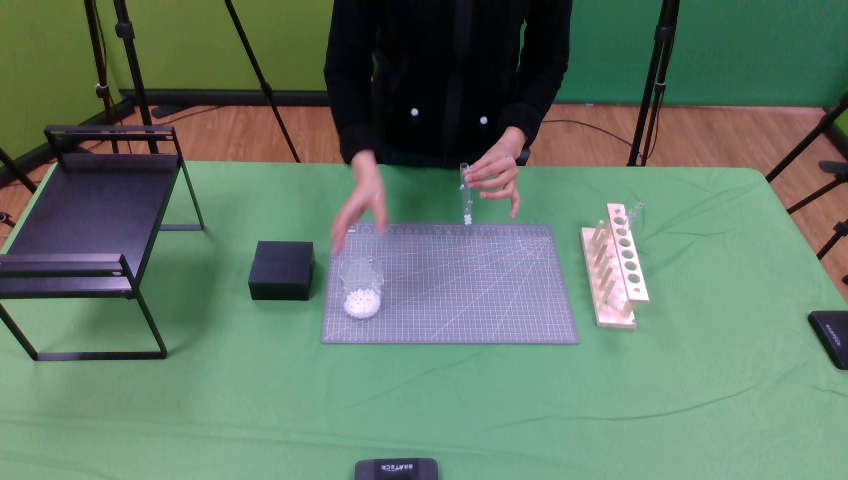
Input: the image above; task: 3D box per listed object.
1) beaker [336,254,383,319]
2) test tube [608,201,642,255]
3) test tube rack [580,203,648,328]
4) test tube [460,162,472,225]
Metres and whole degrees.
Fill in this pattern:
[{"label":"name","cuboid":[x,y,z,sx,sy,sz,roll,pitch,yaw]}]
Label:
[{"label":"beaker","cuboid":[-0.108,0.085,1.051,0.084,0.101,0.074,25,50,17]},{"label":"test tube","cuboid":[0.373,-0.019,1.133,0.017,0.151,0.017,3,52,-4]},{"label":"test tube rack","cuboid":[0.352,0.041,1.142,0.067,0.085,0.241,4,46,0]},{"label":"test tube","cuboid":[0.076,-0.081,1.099,0.017,0.151,0.017,-4,48,4]}]
